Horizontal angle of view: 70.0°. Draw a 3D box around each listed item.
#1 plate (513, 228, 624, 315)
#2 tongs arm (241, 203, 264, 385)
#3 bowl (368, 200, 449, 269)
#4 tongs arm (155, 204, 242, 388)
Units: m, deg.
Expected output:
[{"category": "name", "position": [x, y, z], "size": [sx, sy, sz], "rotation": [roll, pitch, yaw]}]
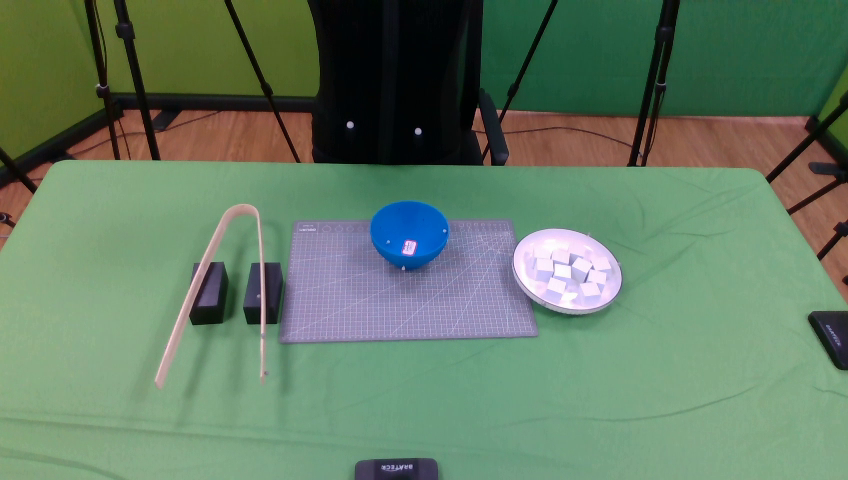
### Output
[{"category": "plate", "position": [0.268, 0.063, 1.146], "size": [0.208, 0.039, 0.206], "rotation": [3, 46, -3]}, {"category": "tongs arm", "position": [-0.295, 0.075, 1.031], "size": [0.051, 0.026, 0.382], "rotation": [-4, 47, -8]}, {"category": "bowl", "position": [-0.030, 0.002, 1.151], "size": [0.151, 0.077, 0.150], "rotation": [2, 46, -2]}, {"category": "tongs arm", "position": [-0.375, 0.075, 1.022], "size": [0.028, 0.028, 0.385], "rotation": [3, 46, 3]}]
